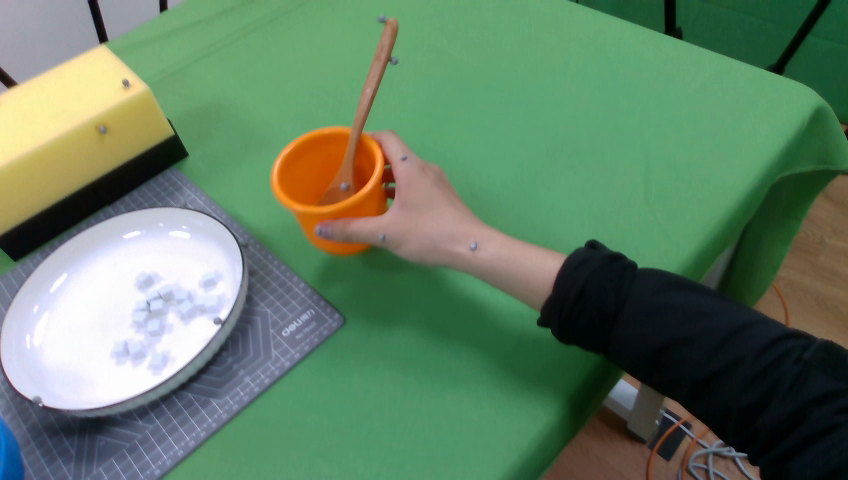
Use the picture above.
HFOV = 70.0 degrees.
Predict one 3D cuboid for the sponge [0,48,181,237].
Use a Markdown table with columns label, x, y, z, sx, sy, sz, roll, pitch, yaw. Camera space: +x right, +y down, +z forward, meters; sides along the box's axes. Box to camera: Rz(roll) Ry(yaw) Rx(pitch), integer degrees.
| label | x | y | z | sx | sy | sz | roll | pitch | yaw |
| --- | --- | --- | --- | --- | --- | --- | --- | --- | --- |
| sponge | -0.368 | -0.100 | 0.601 | 0.207 | 0.061 | 0.117 | -38 | 56 | -22 |

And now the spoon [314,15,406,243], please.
| label | x | y | z | sx | sy | sz | roll | pitch | yaw |
| --- | --- | --- | --- | --- | --- | --- | --- | --- | --- |
| spoon | -0.050 | -0.087 | 0.498 | 0.041 | 0.194 | 0.022 | 27 | 20 | 21 |

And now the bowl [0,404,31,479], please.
| label | x | y | z | sx | sy | sz | roll | pitch | yaw |
| --- | --- | --- | --- | --- | --- | --- | --- | --- | --- |
| bowl | -0.331 | 0.185 | 0.409 | 0.151 | 0.077 | 0.150 | -4 | 50 | 5 |

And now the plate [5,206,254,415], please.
| label | x | y | z | sx | sy | sz | roll | pitch | yaw |
| --- | --- | --- | --- | --- | --- | --- | --- | --- | --- |
| plate | -0.249 | 0.058 | 0.529 | 0.209 | 0.038 | 0.207 | -4 | 51 | 5 |
